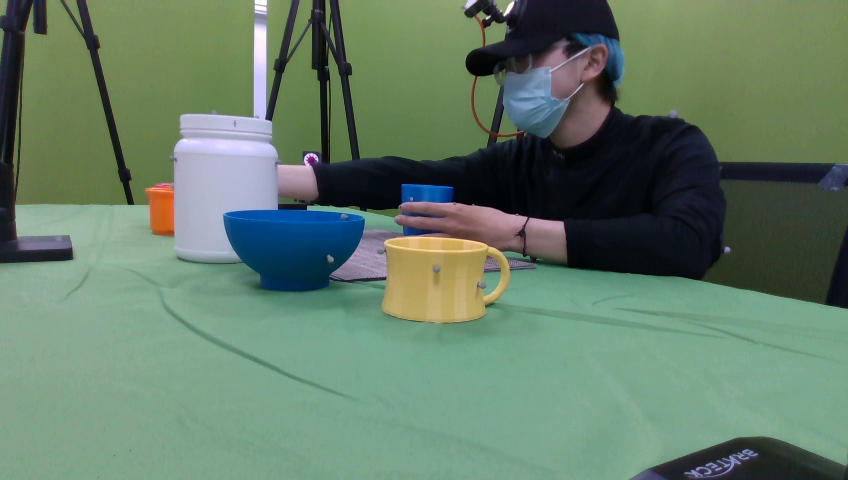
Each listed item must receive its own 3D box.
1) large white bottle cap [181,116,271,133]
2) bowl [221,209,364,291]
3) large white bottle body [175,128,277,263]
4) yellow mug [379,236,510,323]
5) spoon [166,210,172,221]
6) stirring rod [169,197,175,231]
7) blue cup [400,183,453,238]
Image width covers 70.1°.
[{"bbox_3d":[-0.262,-0.152,0.803,0.115,0.018,0.115,2,7,0],"label":"large white bottle cap"},{"bbox_3d":[-0.142,0.011,0.660,0.151,0.077,0.151,2,7,0],"label":"bowl"},{"bbox_3d":[-0.265,-0.068,0.814,0.131,0.184,0.130,2,7,0],"label":"large white bottle body"},{"bbox_3d":[0.024,0.034,0.575,0.131,0.064,0.099,1,7,-22],"label":"yellow mug"},{"bbox_3d":[-0.447,-0.104,1.192,0.041,0.022,0.193,7,52,14],"label":"spoon"},{"bbox_3d":[-0.428,-0.083,1.059,0.014,0.006,0.175,3,49,-15],"label":"stirring rod"},{"bbox_3d":[0.002,-0.038,0.966,0.093,0.100,0.092,3,7,0],"label":"blue cup"}]
